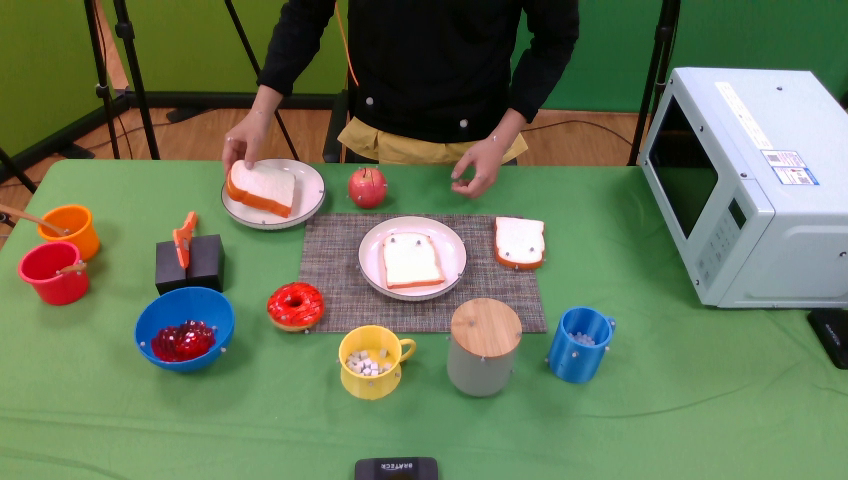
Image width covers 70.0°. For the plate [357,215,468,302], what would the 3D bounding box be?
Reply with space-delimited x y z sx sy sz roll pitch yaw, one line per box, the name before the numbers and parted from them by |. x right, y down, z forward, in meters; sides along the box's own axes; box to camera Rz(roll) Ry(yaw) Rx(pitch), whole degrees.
plate | -0.022 0.037 1.141 0.208 0.039 0.206 2 46 -2

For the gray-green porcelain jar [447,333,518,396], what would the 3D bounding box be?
gray-green porcelain jar | 0.091 0.178 0.960 0.106 0.127 0.105 2 46 -2

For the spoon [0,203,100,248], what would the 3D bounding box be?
spoon | -0.683 -0.031 1.088 0.195 0.021 0.041 33 33 -38

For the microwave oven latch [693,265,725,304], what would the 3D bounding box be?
microwave oven latch | 0.522 0.081 1.115 0.030 0.029 0.078 2 46 -1

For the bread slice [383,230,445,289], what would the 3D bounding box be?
bread slice | -0.028 0.035 1.145 0.107 0.018 0.133 -7 48 -11

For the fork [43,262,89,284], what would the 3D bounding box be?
fork | -0.599 0.053 1.013 0.207 0.019 0.028 -14 30 45

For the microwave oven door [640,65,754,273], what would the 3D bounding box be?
microwave oven door | 0.523 -0.147 1.193 0.039 0.245 0.353 0 47 -3

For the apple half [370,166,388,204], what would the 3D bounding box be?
apple half | -0.091 -0.115 1.260 0.033 0.082 0.080 -9 48 -6

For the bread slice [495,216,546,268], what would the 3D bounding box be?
bread slice | 0.194 0.002 1.204 0.105 0.019 0.131 6 45 2

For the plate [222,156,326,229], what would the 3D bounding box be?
plate | -0.307 -0.095 1.251 0.209 0.038 0.208 2 47 -2

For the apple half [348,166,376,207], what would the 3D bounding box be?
apple half | -0.130 -0.109 1.254 0.053 0.075 0.080 -10 50 -7

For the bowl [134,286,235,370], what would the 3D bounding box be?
bowl | -0.377 0.155 0.981 0.151 0.077 0.150 2 46 -2

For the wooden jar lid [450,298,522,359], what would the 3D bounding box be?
wooden jar lid | 0.093 0.135 0.914 0.108 0.021 0.107 2 48 -3

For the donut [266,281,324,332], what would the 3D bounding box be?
donut | -0.222 0.115 1.049 0.099 0.048 0.098 2 46 -2

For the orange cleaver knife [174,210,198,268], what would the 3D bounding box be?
orange cleaver knife | -0.436 -0.006 1.127 0.012 0.077 0.210 -13 19 -8

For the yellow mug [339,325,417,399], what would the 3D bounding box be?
yellow mug | -0.072 0.190 0.978 0.131 0.064 0.099 -17 50 -20

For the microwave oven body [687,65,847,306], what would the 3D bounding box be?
microwave oven body | 0.669 -0.111 1.176 0.326 0.261 0.439 0 46 -3

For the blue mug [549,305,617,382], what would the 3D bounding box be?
blue mug | 0.269 0.166 0.998 0.116 0.106 0.082 -19 51 -21
